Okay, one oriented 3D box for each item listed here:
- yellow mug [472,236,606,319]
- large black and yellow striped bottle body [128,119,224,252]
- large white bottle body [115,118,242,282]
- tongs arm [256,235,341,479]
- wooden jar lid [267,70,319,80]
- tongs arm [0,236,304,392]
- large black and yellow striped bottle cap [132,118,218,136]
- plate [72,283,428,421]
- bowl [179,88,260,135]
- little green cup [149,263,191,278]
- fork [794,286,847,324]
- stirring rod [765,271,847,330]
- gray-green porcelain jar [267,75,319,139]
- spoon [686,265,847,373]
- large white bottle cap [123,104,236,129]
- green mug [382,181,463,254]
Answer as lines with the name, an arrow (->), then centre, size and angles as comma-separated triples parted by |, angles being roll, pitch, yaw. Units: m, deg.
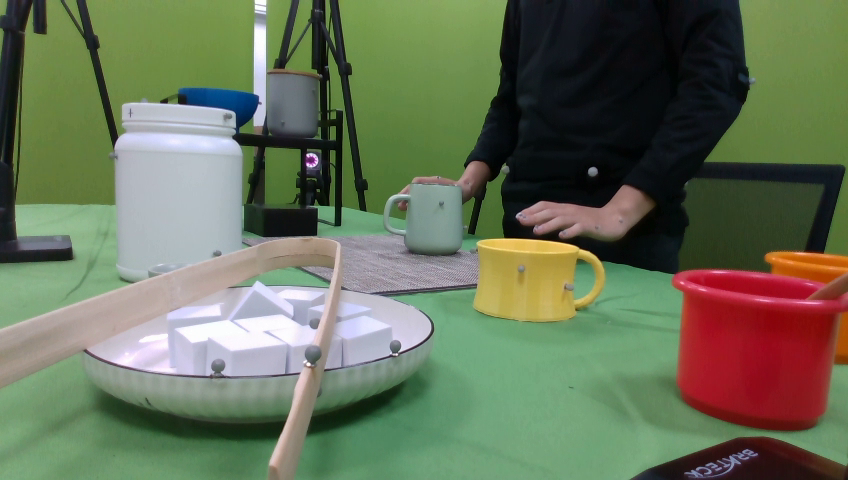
yellow mug -> 0.114, 0.034, 0.590 | 0.131, 0.064, 0.100 | 2, 6, -7
large black and yellow striped bottle body -> -0.361, -0.081, 0.887 | 0.131, 0.184, 0.130 | 2, 8, 0
large white bottle body -> -0.270, -0.051, 0.674 | 0.131, 0.184, 0.130 | 2, 8, 0
tongs arm -> -0.074, 0.039, 0.349 | 0.051, 0.026, 0.384 | -1, 9, -2
wooden jar lid -> -0.275, -0.339, 1.271 | 0.108, 0.020, 0.108 | 5, 6, 0
tongs arm -> -0.157, 0.038, 0.351 | 0.028, 0.028, 0.388 | -3, 8, 12
large black and yellow striped bottle cap -> -0.359, -0.164, 0.875 | 0.115, 0.019, 0.115 | 2, 6, 0
plate -> -0.102, 0.066, 0.381 | 0.208, 0.039, 0.207 | 2, 7, 0
bowl -> -0.400, -0.248, 1.188 | 0.151, 0.077, 0.151 | 2, 6, 0
little green cup -> -0.207, 0.043, 0.531 | 0.061, 0.038, 0.061 | 3, 6, 0
fork -> 0.332, 0.019, 0.443 | 0.028, 0.018, 0.207 | -3, -35, -16
stirring rod -> 0.352, 0.020, 0.481 | 0.176, 0.006, 0.014 | -40, -8, 17
gray-green porcelain jar -> -0.277, -0.279, 1.280 | 0.106, 0.126, 0.106 | 2, 8, 0
spoon -> 0.214, 0.032, 0.327 | 0.042, 0.021, 0.193 | -3, -35, -26
large white bottle cap -> -0.266, -0.134, 0.663 | 0.115, 0.018, 0.115 | 3, 7, 0
green mug -> -0.001, -0.036, 0.922 | 0.126, 0.105, 0.092 | 0, 8, -16
